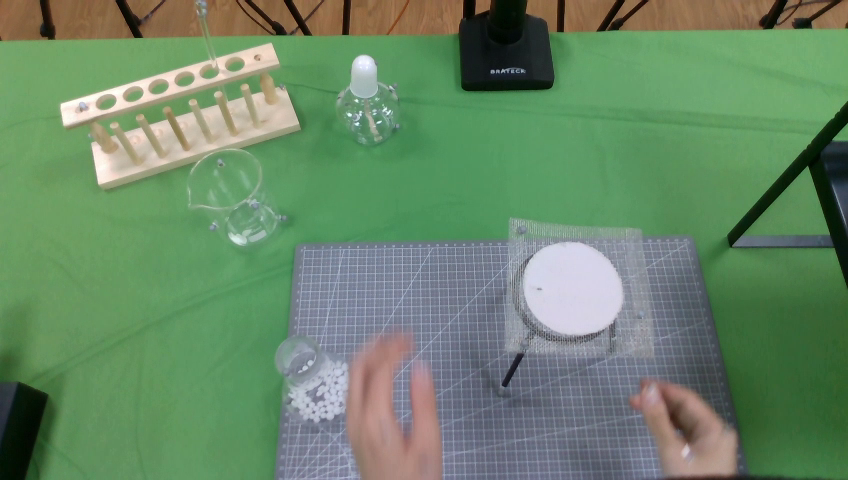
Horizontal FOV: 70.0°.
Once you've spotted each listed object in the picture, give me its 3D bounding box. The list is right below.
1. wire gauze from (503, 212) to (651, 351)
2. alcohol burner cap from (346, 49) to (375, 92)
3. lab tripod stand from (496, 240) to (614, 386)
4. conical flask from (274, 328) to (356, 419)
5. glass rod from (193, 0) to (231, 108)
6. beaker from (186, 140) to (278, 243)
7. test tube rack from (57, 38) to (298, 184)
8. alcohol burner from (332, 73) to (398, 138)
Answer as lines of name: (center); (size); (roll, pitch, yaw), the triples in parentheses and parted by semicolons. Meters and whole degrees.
wire gauze: (0.129, 0.033, 0.518); (0.121, 0.011, 0.124); (4, 65, 0)
alcohol burner cap: (-0.070, -0.193, 0.678); (0.034, 0.048, 0.033); (4, 62, -7)
lab tripod stand: (0.122, 0.068, 0.577); (0.148, 0.132, 0.147); (1, 62, -1)
conical flask: (-0.106, 0.118, 0.559); (0.075, 0.123, 0.074); (0, 63, 1)
glass rod: (-0.235, -0.213, 0.669); (0.008, 0.201, 0.008); (2, 62, -4)
beaker: (-0.204, -0.046, 0.654); (0.084, 0.101, 0.073); (-41, 70, -17)
test tube rack: (-0.282, -0.151, 0.713); (0.242, 0.086, 0.066); (-19, 65, -9)
alcohol burner: (-0.070, -0.175, 0.710); (0.078, 0.120, 0.077); (1, 62, -1)
